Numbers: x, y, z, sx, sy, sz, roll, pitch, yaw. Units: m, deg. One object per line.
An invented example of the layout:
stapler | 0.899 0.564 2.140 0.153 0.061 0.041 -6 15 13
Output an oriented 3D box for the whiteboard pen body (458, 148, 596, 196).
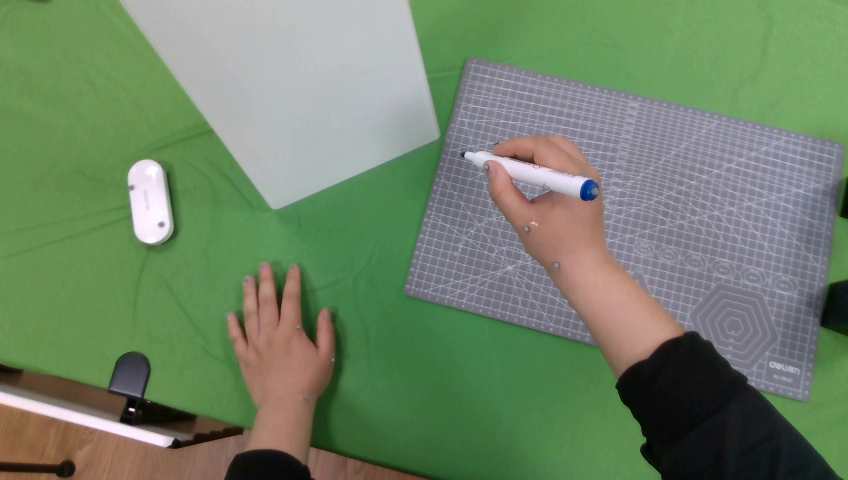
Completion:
whiteboard pen body | 0.071 -0.056 0.460 0.139 0.017 0.017 25 78 48

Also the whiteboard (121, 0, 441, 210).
whiteboard | -0.129 -0.207 0.613 0.217 0.308 0.142 -24 59 -3

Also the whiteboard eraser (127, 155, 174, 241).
whiteboard eraser | -0.316 -0.049 0.699 0.041 0.019 0.101 -13 80 -2
